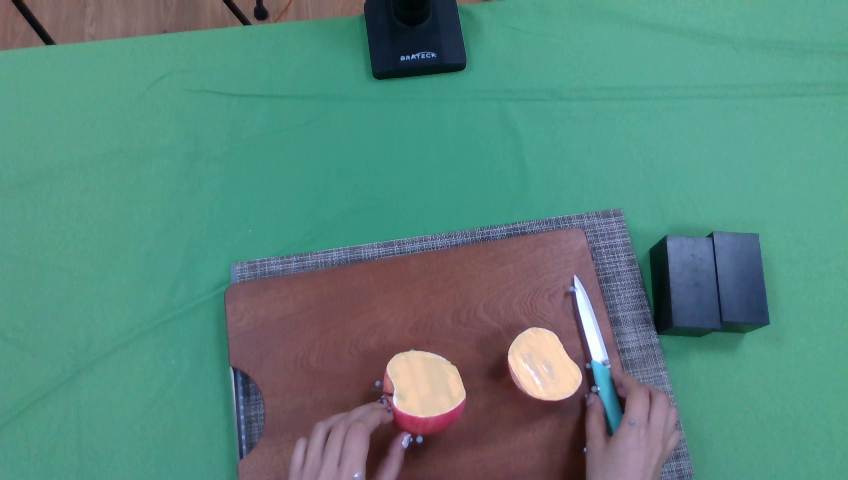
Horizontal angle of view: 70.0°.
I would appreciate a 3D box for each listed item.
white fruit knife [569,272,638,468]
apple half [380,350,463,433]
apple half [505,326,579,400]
[{"bbox_3d":[0.180,0.130,0.626,0.027,0.016,0.206,0,68,-31],"label":"white fruit knife"},{"bbox_3d":[-0.005,0.153,0.590,0.075,0.054,0.080,-4,40,-19],"label":"apple half"},{"bbox_3d":[0.111,0.129,0.610,0.081,0.033,0.080,12,52,-15],"label":"apple half"}]
